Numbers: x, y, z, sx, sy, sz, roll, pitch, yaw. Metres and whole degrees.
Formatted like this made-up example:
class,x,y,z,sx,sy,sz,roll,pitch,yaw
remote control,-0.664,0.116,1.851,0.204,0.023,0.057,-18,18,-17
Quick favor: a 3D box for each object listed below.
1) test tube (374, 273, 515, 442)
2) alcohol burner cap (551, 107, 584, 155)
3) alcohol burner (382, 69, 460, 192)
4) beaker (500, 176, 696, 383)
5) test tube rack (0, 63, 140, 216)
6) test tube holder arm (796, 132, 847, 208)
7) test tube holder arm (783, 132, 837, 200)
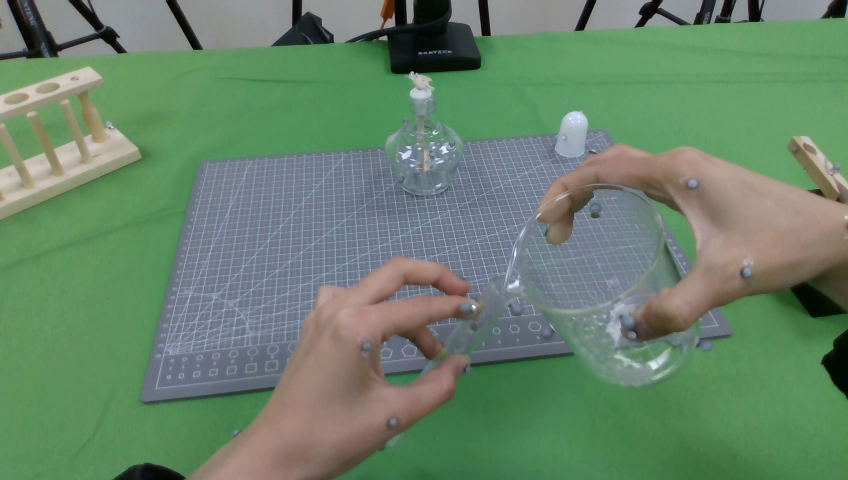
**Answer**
class,x,y,z,sx,sy,sz,roll,pitch,yaw
test tube,0.007,0.073,0.345,0.017,0.151,0.017,21,36,-16
alcohol burner cap,0.155,-0.119,0.647,0.034,0.048,0.033,0,43,0
alcohol burner,-0.004,-0.107,0.583,0.078,0.120,0.077,-1,42,2
beaker,0.096,0.028,0.321,0.084,0.101,0.073,-26,46,18
test tube rack,-0.416,-0.080,0.580,0.242,0.086,0.066,-34,53,-30
test tube holder arm,0.357,-0.038,0.512,0.013,0.015,0.176,-8,43,3
test tube holder arm,0.349,-0.068,0.545,0.010,0.015,0.087,-8,43,3
